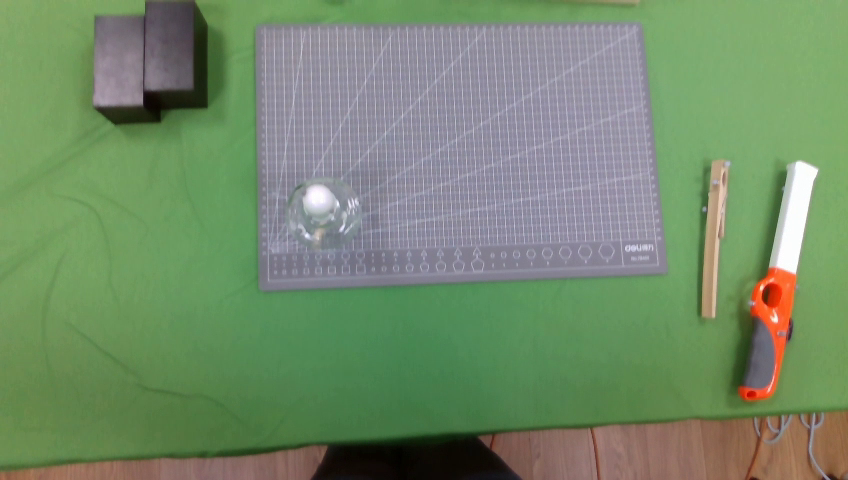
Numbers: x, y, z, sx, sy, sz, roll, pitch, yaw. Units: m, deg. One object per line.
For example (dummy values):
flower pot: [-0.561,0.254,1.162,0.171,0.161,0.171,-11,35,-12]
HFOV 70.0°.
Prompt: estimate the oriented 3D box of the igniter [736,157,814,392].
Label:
igniter: [0.396,0.038,0.680,0.057,0.025,0.275,19,81,-12]

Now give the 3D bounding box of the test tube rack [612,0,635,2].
test tube rack: [0.136,-0.329,0.685,0.243,0.085,0.066,2,81,-4]

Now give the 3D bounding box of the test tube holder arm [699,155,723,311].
test tube holder arm: [0.324,-0.009,0.685,0.013,0.015,0.178,14,81,-33]

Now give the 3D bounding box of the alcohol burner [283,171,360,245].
alcohol burner: [-0.103,-0.036,0.606,0.078,0.119,0.077,1,80,-6]

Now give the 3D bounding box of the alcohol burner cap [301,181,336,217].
alcohol burner cap: [-0.101,-0.039,0.570,0.034,0.048,0.034,0,86,-5]

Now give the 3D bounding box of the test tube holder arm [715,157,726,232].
test tube holder arm: [0.335,-0.052,0.694,0.010,0.015,0.087,15,80,-33]
